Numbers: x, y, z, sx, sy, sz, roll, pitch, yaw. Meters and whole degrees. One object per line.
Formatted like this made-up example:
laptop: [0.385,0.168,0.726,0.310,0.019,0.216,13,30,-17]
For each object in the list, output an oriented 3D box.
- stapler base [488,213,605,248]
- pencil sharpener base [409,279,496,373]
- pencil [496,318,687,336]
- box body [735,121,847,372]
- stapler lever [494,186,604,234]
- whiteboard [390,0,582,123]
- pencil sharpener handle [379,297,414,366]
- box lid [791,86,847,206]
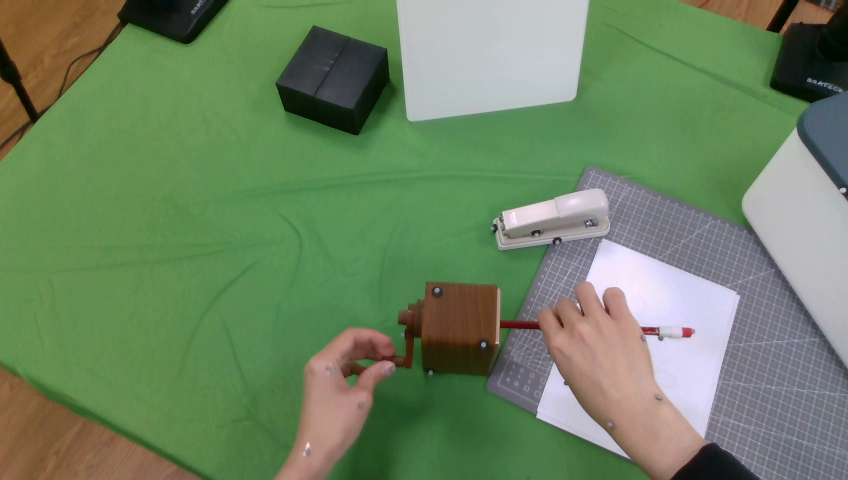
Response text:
stapler base: [0.139,-0.022,0.680,0.130,0.024,0.041,-9,60,-1]
pencil sharpener base: [0.026,0.085,0.583,0.077,0.108,0.061,3,65,2]
pencil: [0.139,0.078,0.552,0.194,0.012,0.012,2,64,5]
box body: [0.520,0.023,0.586,0.254,0.161,0.361,-19,66,-10]
stapler lever: [0.136,-0.033,0.658,0.118,0.040,0.026,-9,60,-1]
whiteboard: [0.062,-0.318,0.702,0.217,0.308,0.142,-8,45,-3]
pencil sharpener handle: [-0.026,0.085,0.563,0.030,0.036,0.068,3,103,2]
box lid: [0.520,-0.011,0.520,0.263,0.015,0.368,-19,67,-10]
